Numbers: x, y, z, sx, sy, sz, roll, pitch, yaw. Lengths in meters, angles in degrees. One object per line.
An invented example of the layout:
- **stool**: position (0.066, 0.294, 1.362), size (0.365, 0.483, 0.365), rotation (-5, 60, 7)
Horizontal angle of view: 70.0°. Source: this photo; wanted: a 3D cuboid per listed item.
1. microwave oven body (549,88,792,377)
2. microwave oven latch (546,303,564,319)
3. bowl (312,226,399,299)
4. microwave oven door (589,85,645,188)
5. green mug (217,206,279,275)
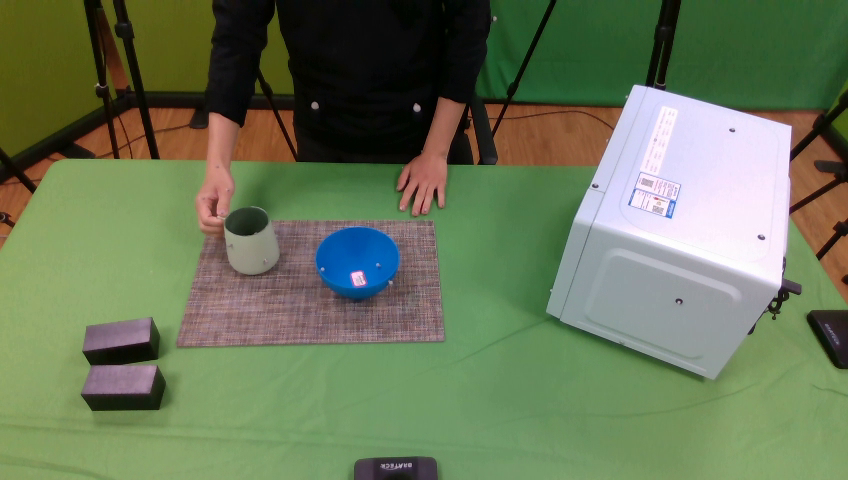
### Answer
- **microwave oven body**: position (0.456, -0.028, 1.088), size (0.325, 0.261, 0.440), rotation (20, 47, 16)
- **microwave oven latch**: position (0.242, 0.102, 1.081), size (0.030, 0.029, 0.079), rotation (21, 48, 17)
- **bowl**: position (-0.120, 0.054, 1.091), size (0.151, 0.077, 0.150), rotation (2, 46, -2)
- **microwave oven door**: position (0.342, -0.107, 1.149), size (0.039, 0.245, 0.354), rotation (20, 48, 15)
- **green mug**: position (-0.331, -0.005, 1.113), size (0.125, 0.105, 0.092), rotation (26, 50, 19)
